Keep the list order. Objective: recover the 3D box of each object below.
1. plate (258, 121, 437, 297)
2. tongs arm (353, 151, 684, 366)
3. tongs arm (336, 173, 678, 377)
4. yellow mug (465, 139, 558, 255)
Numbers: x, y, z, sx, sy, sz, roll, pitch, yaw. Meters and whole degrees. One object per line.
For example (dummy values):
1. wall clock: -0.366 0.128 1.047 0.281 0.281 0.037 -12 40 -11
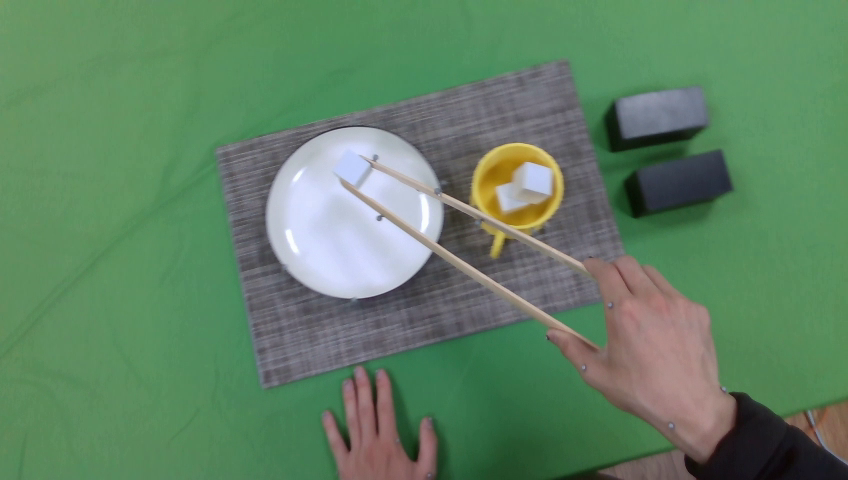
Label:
1. plate: -0.088 -0.035 0.716 0.207 0.039 0.207 0 82 1
2. tongs arm: 0.063 0.001 0.568 0.381 0.027 0.050 27 77 30
3. tongs arm: 0.049 0.019 0.565 0.384 0.028 0.028 32 76 31
4. yellow mug: 0.094 -0.044 0.698 0.100 0.064 0.130 17 82 4
